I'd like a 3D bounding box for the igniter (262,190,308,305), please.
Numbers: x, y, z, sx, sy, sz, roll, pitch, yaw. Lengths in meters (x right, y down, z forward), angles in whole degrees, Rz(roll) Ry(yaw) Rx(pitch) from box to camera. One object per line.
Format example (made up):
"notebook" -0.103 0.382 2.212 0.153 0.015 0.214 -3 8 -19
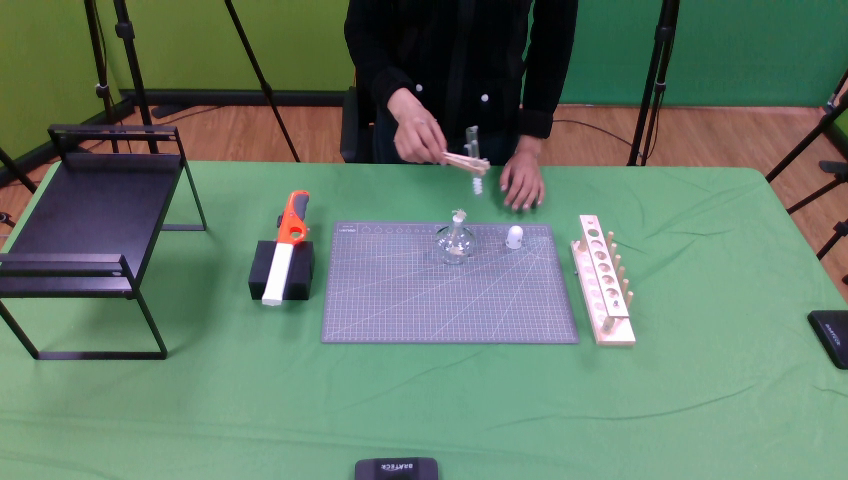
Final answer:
"igniter" -0.252 0.004 1.107 0.057 0.025 0.275 7 47 -6

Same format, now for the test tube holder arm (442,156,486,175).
"test tube holder arm" 0.069 -0.133 1.057 0.087 0.015 0.010 24 59 30

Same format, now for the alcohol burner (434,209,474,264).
"alcohol burner" 0.058 -0.012 1.147 0.078 0.119 0.077 3 44 -3

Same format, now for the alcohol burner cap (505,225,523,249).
"alcohol burner cap" 0.180 -0.009 1.203 0.034 0.048 0.033 2 47 -2

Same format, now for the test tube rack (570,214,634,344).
"test tube rack" 0.333 0.067 1.116 0.067 0.085 0.241 1 46 -3

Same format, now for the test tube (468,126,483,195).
"test tube" 0.089 -0.134 1.045 0.017 0.151 0.017 -5 49 6

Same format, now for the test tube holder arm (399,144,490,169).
"test tube holder arm" 0.034 -0.150 1.080 0.178 0.015 0.013 16 55 26
